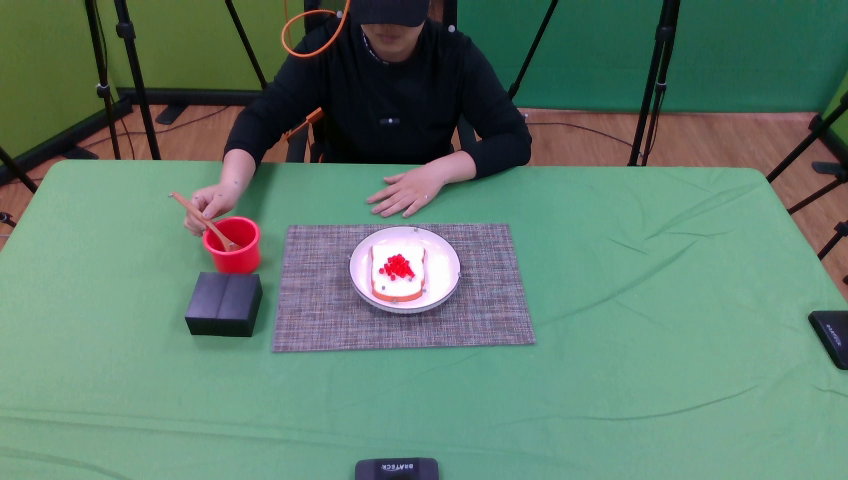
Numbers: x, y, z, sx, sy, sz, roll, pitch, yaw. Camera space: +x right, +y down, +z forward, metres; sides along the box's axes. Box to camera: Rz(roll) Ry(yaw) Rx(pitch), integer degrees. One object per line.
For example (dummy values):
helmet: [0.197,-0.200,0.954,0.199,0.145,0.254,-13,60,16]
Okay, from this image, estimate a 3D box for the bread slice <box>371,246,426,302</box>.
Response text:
bread slice: [-0.047,0.060,1.123,0.105,0.019,0.130,0,45,-3]

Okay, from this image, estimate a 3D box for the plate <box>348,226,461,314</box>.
plate: [-0.035,0.058,1.123,0.209,0.038,0.208,2,46,-2]

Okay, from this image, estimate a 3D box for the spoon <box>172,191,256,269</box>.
spoon: [-0.382,-0.019,1.104,0.194,0.021,0.041,50,48,-18]
